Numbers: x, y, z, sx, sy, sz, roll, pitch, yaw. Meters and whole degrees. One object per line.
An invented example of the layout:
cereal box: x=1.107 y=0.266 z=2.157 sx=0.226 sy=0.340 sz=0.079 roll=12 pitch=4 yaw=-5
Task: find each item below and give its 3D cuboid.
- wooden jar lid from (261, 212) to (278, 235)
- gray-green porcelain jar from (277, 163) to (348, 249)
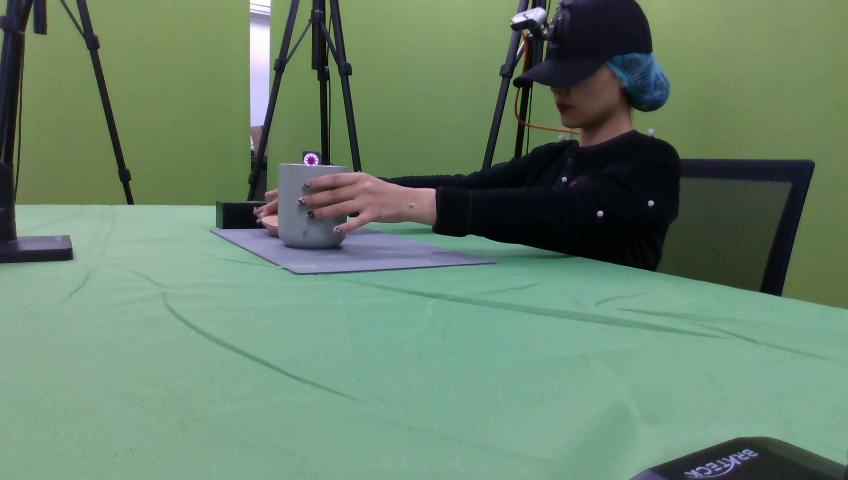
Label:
wooden jar lid: x=-0.227 y=-0.029 z=1.055 sx=0.108 sy=0.020 sz=0.108 roll=1 pitch=19 yaw=0
gray-green porcelain jar: x=-0.172 y=-0.053 z=0.934 sx=0.106 sy=0.126 sz=0.106 roll=2 pitch=7 yaw=0
